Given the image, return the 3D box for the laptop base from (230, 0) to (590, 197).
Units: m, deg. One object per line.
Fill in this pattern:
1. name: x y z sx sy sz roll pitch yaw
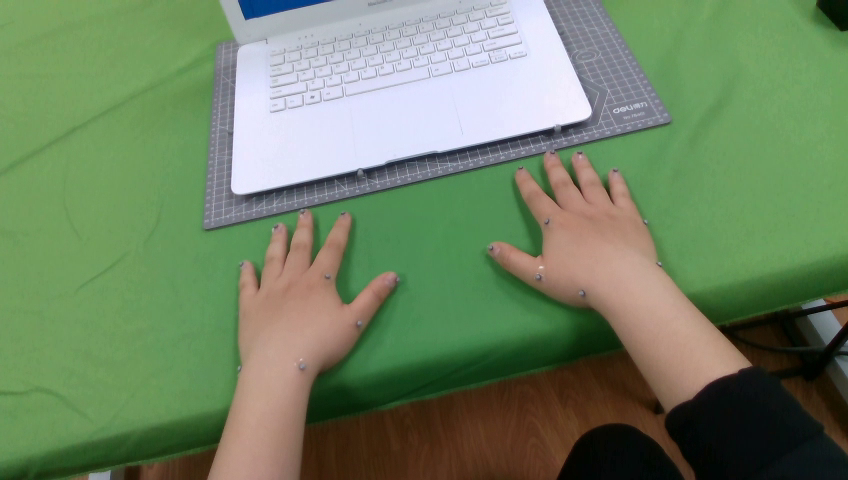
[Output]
1. laptop base: -0.030 -0.165 0.643 0.354 0.023 0.233 -12 56 2

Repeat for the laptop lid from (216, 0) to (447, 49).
1. laptop lid: -0.068 -0.340 0.629 0.357 0.244 0.013 -13 45 3
